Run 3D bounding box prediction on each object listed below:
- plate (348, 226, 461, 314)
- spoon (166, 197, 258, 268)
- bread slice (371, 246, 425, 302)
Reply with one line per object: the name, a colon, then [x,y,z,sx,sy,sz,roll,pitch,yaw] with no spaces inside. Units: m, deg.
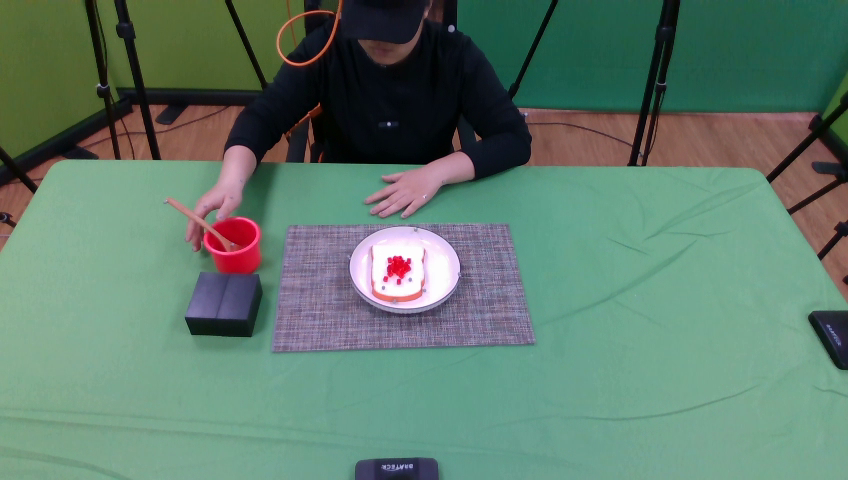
plate: [-0.035,0.058,1.123,0.209,0.038,0.208,2,46,-2]
spoon: [-0.383,-0.014,1.100,0.194,0.021,0.041,45,45,-22]
bread slice: [-0.048,0.060,1.124,0.105,0.019,0.130,0,45,-3]
